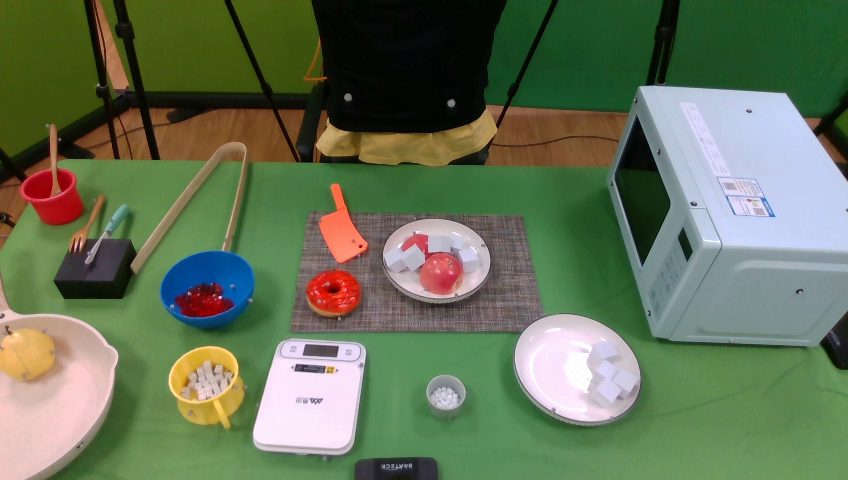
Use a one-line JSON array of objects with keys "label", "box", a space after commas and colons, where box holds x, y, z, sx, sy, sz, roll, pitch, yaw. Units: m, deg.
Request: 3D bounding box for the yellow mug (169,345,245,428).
[{"label": "yellow mug", "box": [-0.322, 0.230, 0.922, 0.100, 0.064, 0.130, -24, 53, -25]}]

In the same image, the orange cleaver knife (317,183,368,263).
[{"label": "orange cleaver knife", "box": [-0.174, -0.037, 1.218, 0.077, 0.012, 0.210, -17, 51, -11]}]

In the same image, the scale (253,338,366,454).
[{"label": "scale", "box": [-0.175, 0.236, 0.951, 0.149, 0.032, 0.199, 5, 45, -1]}]

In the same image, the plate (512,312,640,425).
[{"label": "plate", "box": [0.246, 0.213, 0.999, 0.208, 0.039, 0.206, 2, 46, -2]}]

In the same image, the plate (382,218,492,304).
[{"label": "plate", "box": [0.023, 0.042, 1.143, 0.209, 0.038, 0.208, 2, 46, -2]}]

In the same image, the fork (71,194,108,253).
[{"label": "fork", "box": [-0.634, -0.036, 1.158, 0.028, 0.019, 0.206, -7, 31, -8]}]

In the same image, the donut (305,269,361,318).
[{"label": "donut", "box": [-0.160, 0.094, 1.075, 0.099, 0.048, 0.098, 3, 45, -3]}]

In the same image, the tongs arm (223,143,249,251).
[{"label": "tongs arm", "box": [-0.397, -0.073, 1.232, 0.051, 0.026, 0.382, -1, 45, -1]}]

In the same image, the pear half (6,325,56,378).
[{"label": "pear half", "box": [-0.608, 0.158, 0.935, 0.076, 0.110, 0.056, 31, 51, 20]}]

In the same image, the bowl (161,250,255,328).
[{"label": "bowl", "box": [-0.362, 0.098, 1.039, 0.151, 0.077, 0.150, 2, 45, -2]}]

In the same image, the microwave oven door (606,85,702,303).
[{"label": "microwave oven door", "box": [0.422, -0.094, 1.140, 0.039, 0.245, 0.353, 2, 46, -1]}]

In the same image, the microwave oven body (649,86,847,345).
[{"label": "microwave oven body", "box": [0.567, -0.053, 1.118, 0.326, 0.261, 0.439, 2, 45, -1]}]

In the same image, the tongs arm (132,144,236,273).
[{"label": "tongs arm", "box": [-0.481, -0.078, 1.234, 0.028, 0.028, 0.385, 6, 45, 12]}]

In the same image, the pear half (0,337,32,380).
[{"label": "pear half", "box": [-0.631, 0.184, 0.921, 0.070, 0.088, 0.031, 29, 49, 19]}]

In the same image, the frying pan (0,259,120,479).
[{"label": "frying pan", "box": [-0.647, 0.164, 0.936, 0.307, 0.103, 0.485, -19, 58, -22]}]

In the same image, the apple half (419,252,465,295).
[{"label": "apple half", "box": [0.035, 0.055, 1.109, 0.074, 0.053, 0.081, 38, 55, 24]}]

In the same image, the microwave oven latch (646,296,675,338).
[{"label": "microwave oven latch", "box": [0.412, 0.134, 1.061, 0.030, 0.029, 0.078, 4, 45, 1]}]

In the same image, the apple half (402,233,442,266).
[{"label": "apple half", "box": [-0.004, 0.013, 1.160, 0.081, 0.033, 0.081, 4, 45, -4]}]

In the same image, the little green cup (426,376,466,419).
[{"label": "little green cup", "box": [0.033, 0.248, 0.950, 0.061, 0.039, 0.061, 2, 46, -2]}]

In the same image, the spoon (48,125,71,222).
[{"label": "spoon", "box": [-0.718, -0.131, 1.189, 0.041, 0.021, 0.193, -3, 90, -6]}]

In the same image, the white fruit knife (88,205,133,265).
[{"label": "white fruit knife", "box": [-0.583, -0.013, 1.129, 0.016, 0.027, 0.206, -2, 32, -4]}]
